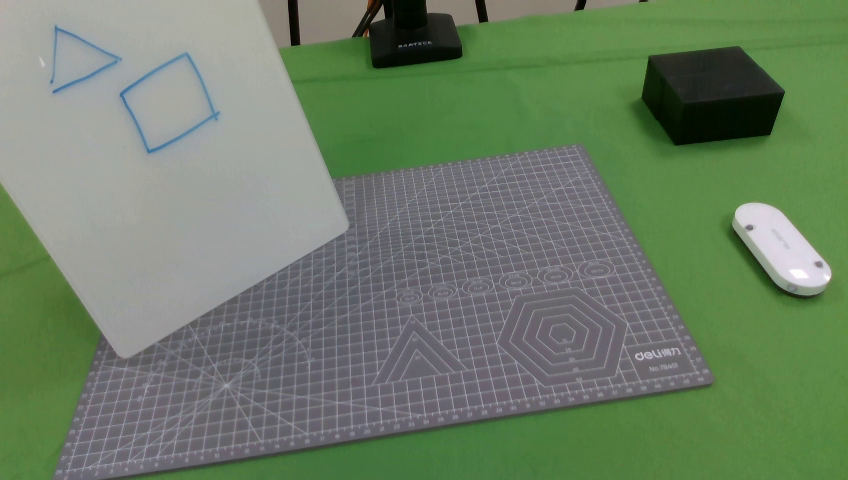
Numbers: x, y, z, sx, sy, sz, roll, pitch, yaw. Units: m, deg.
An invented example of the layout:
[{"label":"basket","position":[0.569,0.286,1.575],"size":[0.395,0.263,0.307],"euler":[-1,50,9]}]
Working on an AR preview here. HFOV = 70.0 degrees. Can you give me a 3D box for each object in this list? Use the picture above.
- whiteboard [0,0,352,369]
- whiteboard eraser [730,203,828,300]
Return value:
[{"label":"whiteboard","position":[-0.231,-0.097,0.495],"size":[0.217,0.308,0.142],"euler":[-33,29,-25]},{"label":"whiteboard eraser","position":[0.287,0.006,0.494],"size":[0.041,0.019,0.100],"euler":[-8,44,-3]}]
